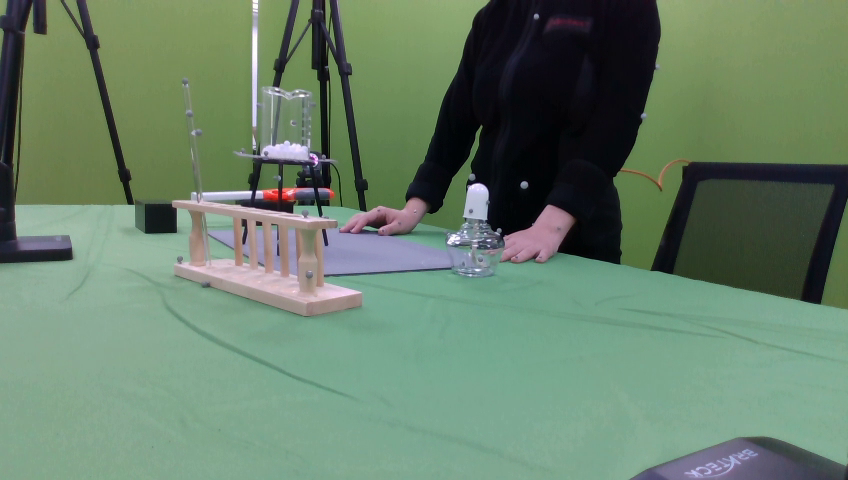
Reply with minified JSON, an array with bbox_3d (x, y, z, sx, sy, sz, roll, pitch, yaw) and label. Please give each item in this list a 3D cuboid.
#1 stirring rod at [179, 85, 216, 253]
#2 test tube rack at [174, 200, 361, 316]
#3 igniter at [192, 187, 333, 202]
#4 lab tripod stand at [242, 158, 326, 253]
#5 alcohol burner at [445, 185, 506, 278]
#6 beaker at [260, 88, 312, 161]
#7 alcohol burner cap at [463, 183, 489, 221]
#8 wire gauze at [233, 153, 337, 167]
[{"bbox_3d":[-0.237,-0.073,0.634,0.006,0.176,0.014,0,9,42],"label":"stirring rod"},{"bbox_3d":[-0.169,0.009,0.622,0.241,0.085,0.067,9,9,41],"label":"test tube rack"},{"bbox_3d":[-0.316,-0.090,1.213,0.278,0.025,0.057,-5,13,-31],"label":"igniter"},{"bbox_3d":[-0.207,-0.054,0.895,0.148,0.131,0.148,3,5,0],"label":"lab tripod stand"},{"bbox_3d":[0.066,-0.013,0.771,0.078,0.119,0.078,0,7,0],"label":"alcohol burner"},{"bbox_3d":[-0.200,-0.166,0.876,0.074,0.100,0.083,1,7,-18],"label":"beaker"},{"bbox_3d":[0.067,-0.048,0.765,0.034,0.048,0.034,5,5,0],"label":"alcohol burner cap"},{"bbox_3d":[-0.205,-0.119,0.887,0.122,0.011,0.124,2,4,-32],"label":"wire gauze"}]
